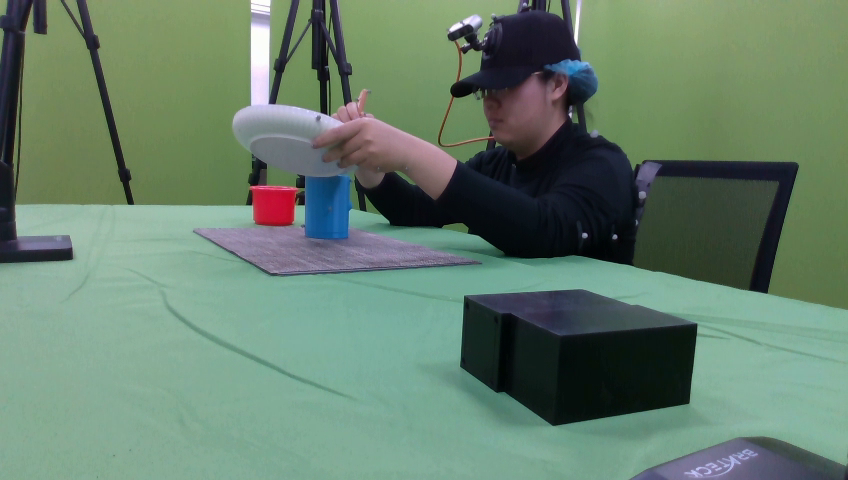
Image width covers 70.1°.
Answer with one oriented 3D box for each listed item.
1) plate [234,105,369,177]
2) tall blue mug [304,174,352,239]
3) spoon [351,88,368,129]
[{"bbox_3d":[-0.191,-0.142,0.939,0.208,0.039,0.208,7,-15,2],"label":"plate"},{"bbox_3d":[-0.178,-0.062,1.062,0.078,0.108,0.106,-4,10,-38],"label":"tall blue mug"},{"bbox_3d":[-0.124,-0.201,1.053,0.041,0.022,0.193,-4,47,18],"label":"spoon"}]
